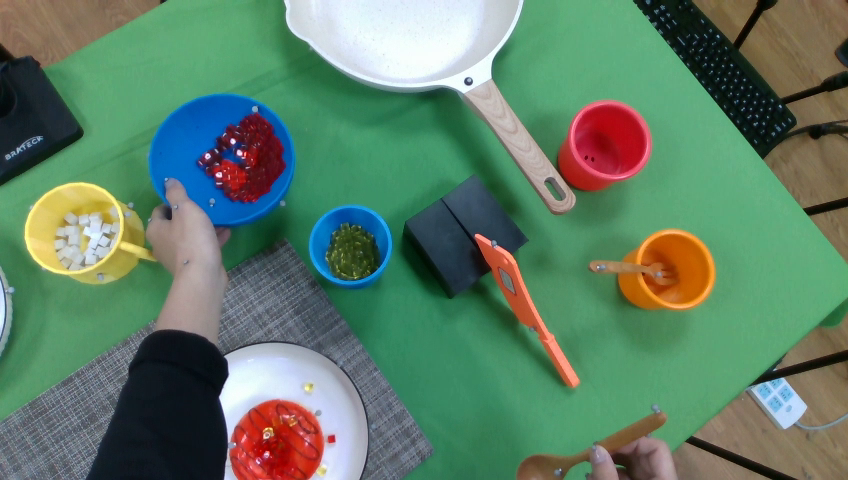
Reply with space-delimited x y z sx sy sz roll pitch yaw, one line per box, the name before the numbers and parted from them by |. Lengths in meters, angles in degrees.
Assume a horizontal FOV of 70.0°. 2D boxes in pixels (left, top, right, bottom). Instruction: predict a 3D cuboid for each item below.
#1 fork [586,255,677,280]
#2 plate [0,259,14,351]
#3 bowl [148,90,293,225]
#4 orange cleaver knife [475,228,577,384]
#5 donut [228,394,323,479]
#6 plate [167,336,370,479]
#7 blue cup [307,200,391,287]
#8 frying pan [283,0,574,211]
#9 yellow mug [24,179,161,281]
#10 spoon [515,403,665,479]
fork | 0.234 0.028 0.667 0.209 0.018 0.028 7 73 -48
plate | -0.541 0.079 0.641 0.208 0.039 0.206 1 79 -5
bowl | -0.219 -0.082 0.681 0.152 0.077 0.150 2 77 -7
orange cleaver knife | 0.115 0.075 0.681 0.012 0.076 0.213 -35 113 -11
donut | -0.155 0.211 0.636 0.099 0.048 0.098 1 82 -7
plate | -0.163 0.208 0.648 0.209 0.038 0.208 1 79 -5
blue cup | -0.081 0.012 0.665 0.093 0.100 0.092 1 76 -5
frying pan | 0.026 -0.231 0.721 0.307 0.103 0.485 -30 75 -9
yellow mug | -0.352 -0.004 0.661 0.131 0.064 0.099 18 77 -3
spoon | 0.150 0.194 0.567 0.022 0.194 0.041 -18 69 -41
